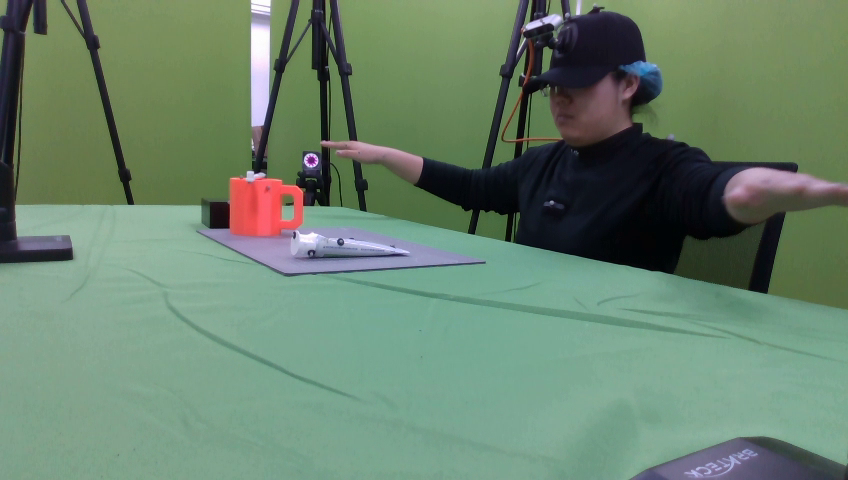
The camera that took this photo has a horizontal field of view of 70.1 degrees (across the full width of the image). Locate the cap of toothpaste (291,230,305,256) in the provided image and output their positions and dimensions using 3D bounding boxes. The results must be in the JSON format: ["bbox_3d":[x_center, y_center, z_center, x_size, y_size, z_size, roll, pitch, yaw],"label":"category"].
[{"bbox_3d":[-0.169,0.004,0.812,0.011,0.037,0.037,6,4,-30],"label":"cap of toothpaste"}]

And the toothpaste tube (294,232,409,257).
[{"bbox_3d":[-0.103,0.010,0.853,0.166,0.034,0.055,3,11,-34],"label":"toothpaste tube"}]

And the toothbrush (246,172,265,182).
[{"bbox_3d":[-0.292,-0.112,1.050,0.014,0.016,0.181,-4,8,-8],"label":"toothbrush"}]

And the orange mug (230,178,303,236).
[{"bbox_3d":[-0.275,-0.060,1.058,0.126,0.101,0.083,-2,8,-5],"label":"orange mug"}]
